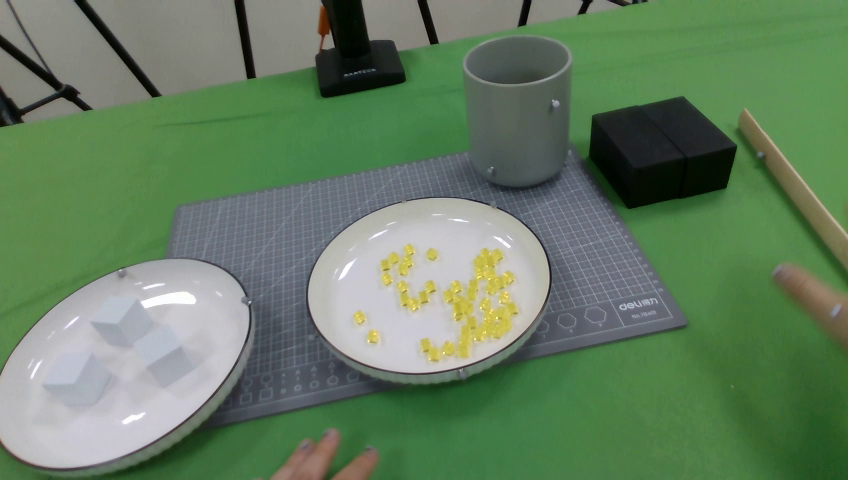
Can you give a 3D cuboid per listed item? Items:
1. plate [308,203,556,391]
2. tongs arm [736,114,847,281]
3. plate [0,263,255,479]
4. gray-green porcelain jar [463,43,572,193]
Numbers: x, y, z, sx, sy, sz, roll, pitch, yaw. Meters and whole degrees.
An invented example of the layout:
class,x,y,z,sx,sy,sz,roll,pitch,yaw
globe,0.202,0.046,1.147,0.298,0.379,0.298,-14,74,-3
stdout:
class,x,y,z,sx,sy,sz,roll,pitch,yaw
plate,0.007,0.046,0.522,0.207,0.039,0.205,-5,42,5
tongs arm,0.363,-0.002,0.528,0.028,0.028,0.383,-6,42,0
plate,-0.239,0.104,0.498,0.209,0.038,0.207,-6,42,6
gray-green porcelain jar,0.096,-0.121,0.624,0.106,0.128,0.105,-5,42,5
